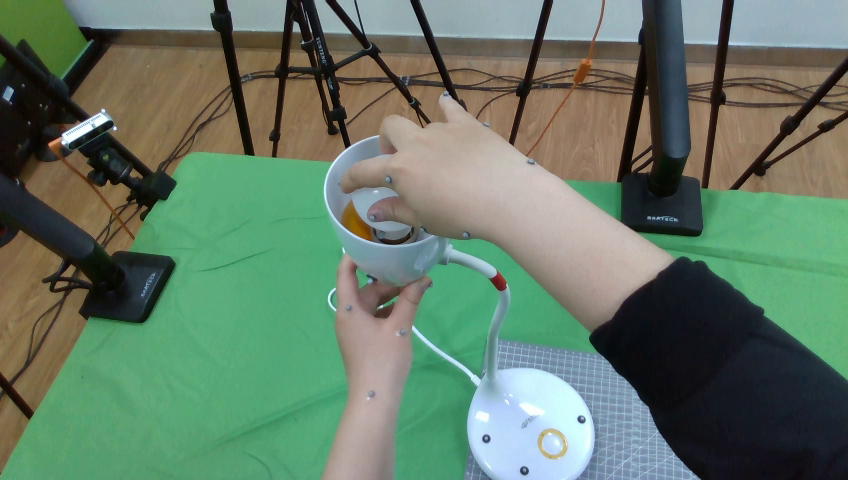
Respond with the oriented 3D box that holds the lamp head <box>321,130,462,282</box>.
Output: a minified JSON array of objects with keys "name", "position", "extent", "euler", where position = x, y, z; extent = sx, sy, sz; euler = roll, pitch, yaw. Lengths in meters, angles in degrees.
[{"name":"lamp head","position":[-0.022,-0.015,0.520],"extent":[0.112,0.124,0.111],"euler":[-2,58,4]}]

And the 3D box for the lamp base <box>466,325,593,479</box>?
[{"name":"lamp base","position":[0.115,0.181,0.719],"extent":[0.177,0.182,0.160],"euler":[29,62,28]}]

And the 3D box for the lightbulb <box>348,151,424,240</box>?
[{"name":"lightbulb","position":[-0.029,-0.028,0.493],"extent":[0.059,0.108,0.059],"euler":[0,61,0]}]
